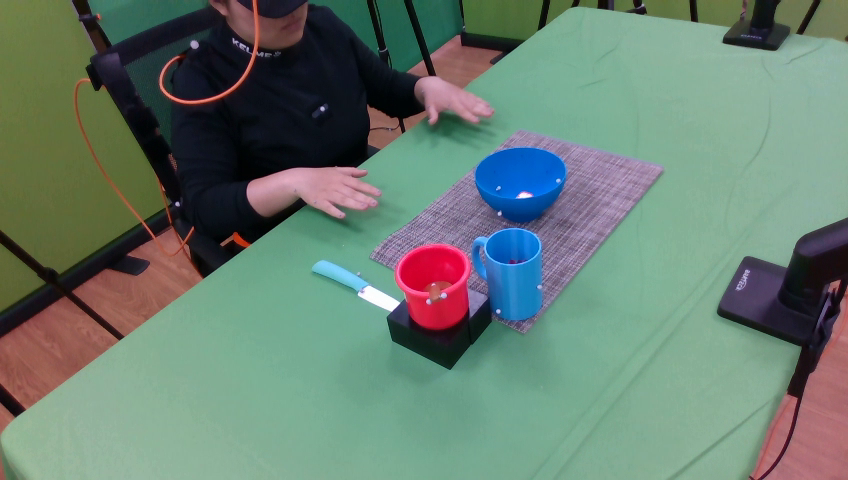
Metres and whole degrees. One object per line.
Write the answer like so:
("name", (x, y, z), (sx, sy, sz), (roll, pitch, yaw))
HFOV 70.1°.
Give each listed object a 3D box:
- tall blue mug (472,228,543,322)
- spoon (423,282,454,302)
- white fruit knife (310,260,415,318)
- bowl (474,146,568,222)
("tall blue mug", (0.110, 0.046, 0.832), (0.107, 0.108, 0.077), (6, 43, 18))
("spoon", (0.015, 0.062, 0.733), (0.041, 0.021, 0.194), (-5, -4, 3))
("white fruit knife", (-0.094, 0.074, 0.920), (0.206, 0.016, 0.027), (24, 77, 30))
("bowl", (0.161, -0.083, 1.000), (0.151, 0.077, 0.150), (-5, 40, 5))
